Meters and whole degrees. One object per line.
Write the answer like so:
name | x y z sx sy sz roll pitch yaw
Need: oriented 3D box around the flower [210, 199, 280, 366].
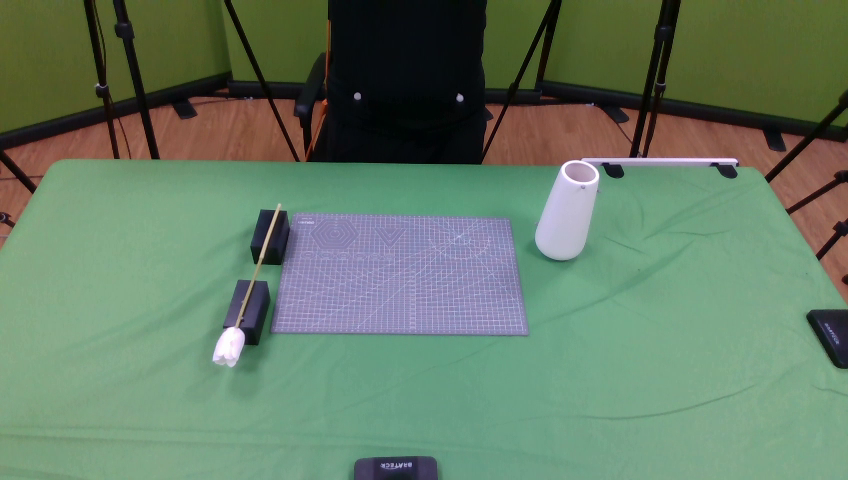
flower | -0.297 0.056 1.054 0.044 0.038 0.359 -16 44 24

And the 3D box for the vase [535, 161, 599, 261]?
vase | 0.270 -0.051 1.145 0.098 0.201 0.097 1 46 -1
